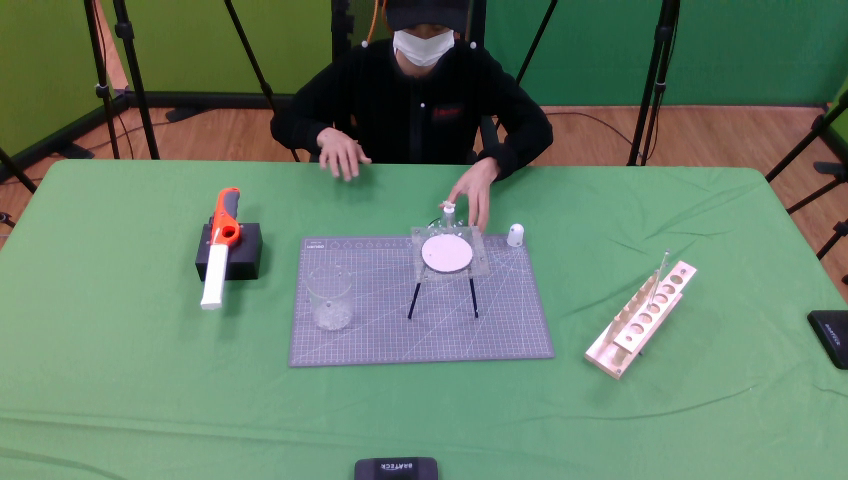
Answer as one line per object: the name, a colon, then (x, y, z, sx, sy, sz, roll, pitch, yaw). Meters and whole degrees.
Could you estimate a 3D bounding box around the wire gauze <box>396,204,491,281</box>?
wire gauze: (0.032, 0.004, 0.999, 0.125, 0.011, 0.120, -22, 54, -14)

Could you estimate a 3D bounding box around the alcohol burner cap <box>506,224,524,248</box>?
alcohol burner cap: (0.183, -0.010, 1.206, 0.034, 0.048, 0.033, 1, 46, -1)

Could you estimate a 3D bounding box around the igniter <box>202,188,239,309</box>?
igniter: (-0.367, 0.006, 1.095, 0.057, 0.025, 0.274, -2, 49, -7)

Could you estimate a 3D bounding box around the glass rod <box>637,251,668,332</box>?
glass rod: (0.378, 0.090, 1.005, 0.008, 0.201, 0.008, -1, 44, 1)

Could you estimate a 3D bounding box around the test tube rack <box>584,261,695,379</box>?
test tube rack: (0.380, 0.127, 1.062, 0.066, 0.085, 0.242, 34, 53, 26)

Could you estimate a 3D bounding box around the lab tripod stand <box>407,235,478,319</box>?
lab tripod stand: (0.032, 0.065, 1.057, 0.148, 0.132, 0.147, 1, 45, -1)

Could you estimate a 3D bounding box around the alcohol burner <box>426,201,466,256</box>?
alcohol burner: (0.043, -0.026, 1.160, 0.078, 0.120, 0.077, 1, 47, -1)

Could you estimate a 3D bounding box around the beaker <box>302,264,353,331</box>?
beaker: (-0.162, 0.101, 1.029, 0.084, 0.101, 0.073, 4, 46, 0)
